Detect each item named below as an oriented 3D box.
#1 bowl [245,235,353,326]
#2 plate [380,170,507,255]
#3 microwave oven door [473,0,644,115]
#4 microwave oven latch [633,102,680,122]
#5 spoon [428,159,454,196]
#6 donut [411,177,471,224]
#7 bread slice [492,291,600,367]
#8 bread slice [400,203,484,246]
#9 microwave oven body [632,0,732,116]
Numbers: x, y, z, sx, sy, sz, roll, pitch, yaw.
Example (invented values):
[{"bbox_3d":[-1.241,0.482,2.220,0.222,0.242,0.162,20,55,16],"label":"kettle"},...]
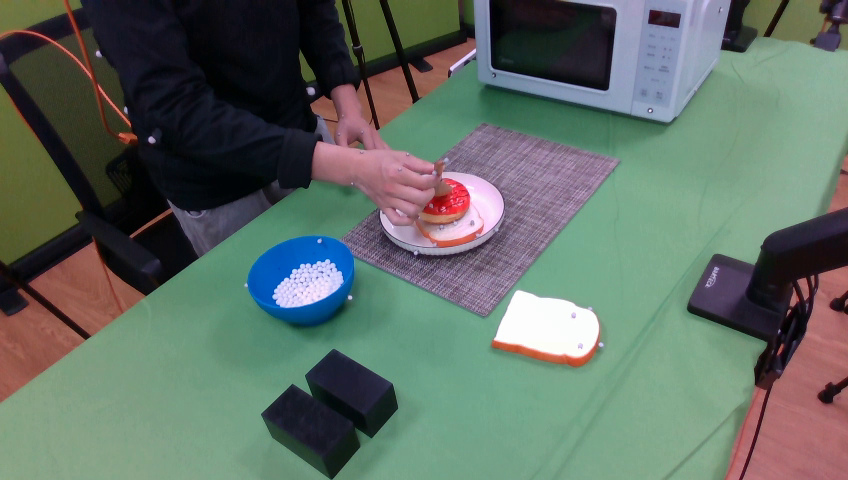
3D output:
[{"bbox_3d":[-0.170,0.070,0.868,0.151,0.077,0.150,-4,41,4],"label":"bowl"},{"bbox_3d":[0.033,-0.042,0.995,0.207,0.039,0.206,-4,40,4],"label":"plate"},{"bbox_3d":[0.257,-0.396,1.199,0.353,0.245,0.039,21,48,29],"label":"microwave oven door"},{"bbox_3d":[0.444,-0.249,1.157,0.078,0.029,0.030,21,49,30],"label":"microwave oven latch"},{"bbox_3d":[0.021,-0.090,0.865,0.041,0.194,0.021,-12,80,1],"label":"spoon"},{"bbox_3d":[0.028,-0.064,0.978,0.099,0.048,0.098,-3,39,3],"label":"donut"},{"bbox_3d":[0.169,0.118,0.811,0.131,0.019,0.105,11,44,21],"label":"bread slice"},{"bbox_3d":[0.037,-0.036,0.992,0.107,0.018,0.133,-22,40,-17],"label":"bread slice"},{"bbox_3d":[0.377,-0.462,1.267,0.438,0.261,0.327,21,48,30],"label":"microwave oven body"}]
